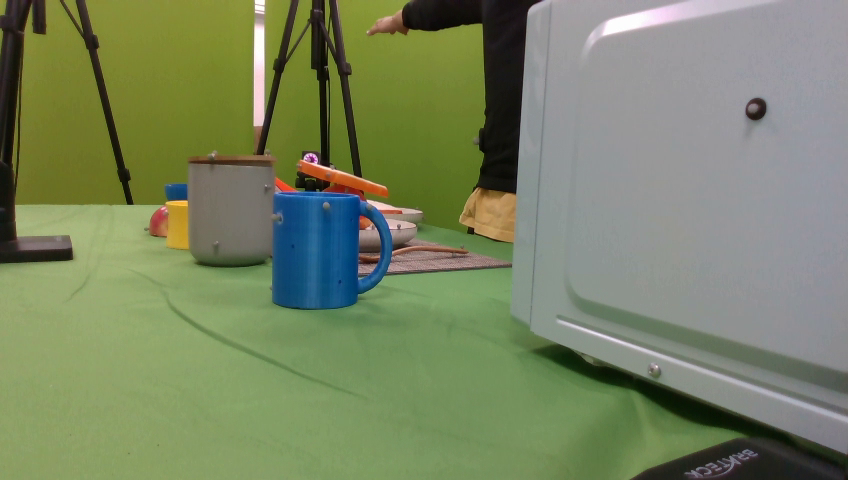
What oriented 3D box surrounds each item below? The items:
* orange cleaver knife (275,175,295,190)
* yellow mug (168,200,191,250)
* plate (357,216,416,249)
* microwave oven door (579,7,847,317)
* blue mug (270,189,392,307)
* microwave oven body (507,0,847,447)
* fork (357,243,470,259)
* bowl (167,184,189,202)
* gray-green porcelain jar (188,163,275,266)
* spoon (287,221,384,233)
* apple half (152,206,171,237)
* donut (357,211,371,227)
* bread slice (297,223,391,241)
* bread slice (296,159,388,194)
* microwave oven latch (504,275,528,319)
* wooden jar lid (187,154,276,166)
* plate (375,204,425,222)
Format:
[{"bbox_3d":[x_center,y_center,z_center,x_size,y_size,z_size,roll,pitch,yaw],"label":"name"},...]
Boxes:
[{"bbox_3d":[-0.283,-0.087,1.343,0.212,0.077,0.012,23,-16,-41],"label":"orange cleaver knife"},{"bbox_3d":[-0.320,-0.023,0.904,0.130,0.064,0.100,8,10,36],"label":"yellow mug"},{"bbox_3d":[-0.116,-0.014,0.967,0.208,0.039,0.207,2,7,0],"label":"plate"},{"bbox_3d":[0.294,-0.067,0.570,0.358,0.243,0.039,-3,9,-31],"label":"microwave oven door"},{"bbox_3d":[-0.090,0.005,0.588,0.117,0.106,0.082,1,7,-11],"label":"blue mug"},{"bbox_3d":[0.331,-0.042,0.425,0.444,0.260,0.324,-2,8,-31],"label":"microwave oven body"},{"bbox_3d":[-0.017,0.014,0.845,0.208,0.018,0.028,-5,-2,-35],"label":"fork"},{"bbox_3d":[-0.408,-0.064,1.154,0.151,0.077,0.151,2,8,0],"label":"bowl"},{"bbox_3d":[-0.246,-0.034,0.780,0.106,0.126,0.106,1,7,0],"label":"gray-green porcelain jar"},{"bbox_3d":[-0.157,-0.027,1.110,0.195,0.021,0.041,-4,-14,-35],"label":"spoon"},{"bbox_3d":[-0.415,-0.034,1.017,0.081,0.053,0.074,1,10,-8],"label":"apple half"},{"bbox_3d":[-0.129,-0.042,0.957,0.099,0.048,0.099,3,7,0],"label":"donut"},{"bbox_3d":[-0.121,-0.015,0.970,0.106,0.018,0.135,10,9,40],"label":"bread slice"},{"bbox_3d":[-0.132,-0.102,0.952,0.132,0.019,0.104,13,6,-36],"label":"bread slice"},{"bbox_3d":[0.100,0.041,0.471,0.079,0.029,0.030,-1,7,-27],"label":"microwave oven latch"},{"bbox_3d":[-0.244,-0.097,0.771,0.108,0.020,0.108,-1,7,0],"label":"wooden jar lid"},{"bbox_3d":[-0.102,-0.053,1.299,0.209,0.038,0.209,2,8,0],"label":"plate"}]
